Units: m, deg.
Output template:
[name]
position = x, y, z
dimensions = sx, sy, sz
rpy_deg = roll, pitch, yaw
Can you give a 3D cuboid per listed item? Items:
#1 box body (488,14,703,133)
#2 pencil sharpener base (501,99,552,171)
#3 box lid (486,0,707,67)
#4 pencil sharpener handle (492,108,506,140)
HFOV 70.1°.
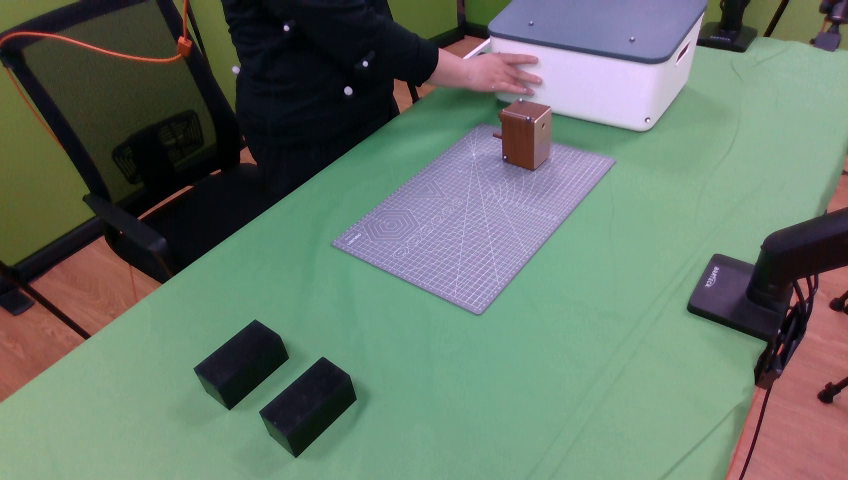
[box body]
position = 0.346, -0.374, 1.251
dimensions = 0.361, 0.161, 0.255
rpy_deg = 20, 48, 29
[pencil sharpener base]
position = 0.184, -0.191, 1.097
dimensions = 0.076, 0.107, 0.061
rpy_deg = 22, 49, 32
[box lid]
position = 0.337, -0.438, 1.193
dimensions = 0.369, 0.015, 0.263
rpy_deg = 21, 54, 28
[pencil sharpener handle]
position = 0.141, -0.216, 1.114
dimensions = 0.030, 0.068, 0.036
rpy_deg = 22, 42, 32
